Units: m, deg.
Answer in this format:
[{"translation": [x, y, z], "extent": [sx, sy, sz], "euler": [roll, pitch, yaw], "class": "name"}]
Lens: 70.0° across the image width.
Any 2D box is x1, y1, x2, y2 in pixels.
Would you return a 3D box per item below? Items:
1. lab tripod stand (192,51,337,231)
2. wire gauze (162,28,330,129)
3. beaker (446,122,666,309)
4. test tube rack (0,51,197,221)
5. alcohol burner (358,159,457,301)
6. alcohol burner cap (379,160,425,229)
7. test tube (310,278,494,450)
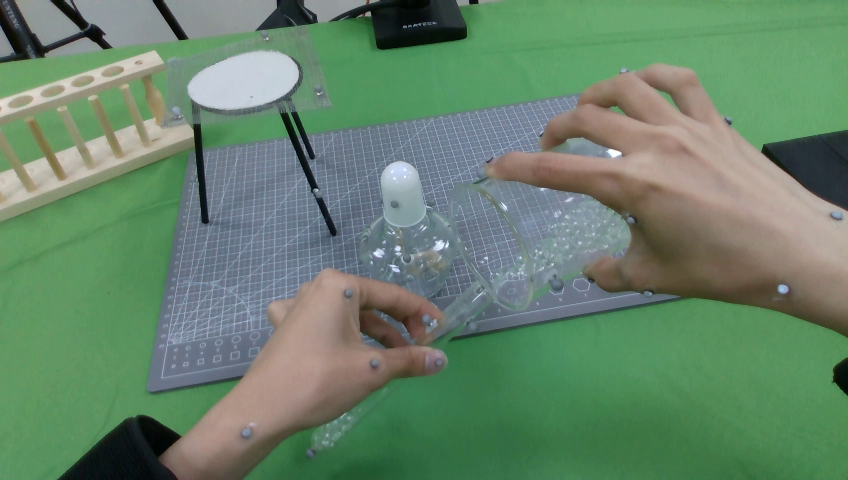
[{"translation": [-0.140, -0.082, 0.529], "extent": [0.148, 0.133, 0.147], "euler": [-3, 47, 3], "class": "lab tripod stand"}, {"translation": [-0.145, -0.129, 0.481], "extent": [0.125, 0.011, 0.120], "euler": [-14, 46, -7], "class": "wire gauze"}, {"translation": [0.074, -0.015, 0.336], "extent": [0.100, 0.085, 0.073], "euler": [-26, 56, -19], "class": "beaker"}, {"translation": [-0.363, -0.101, 0.605], "extent": [0.242, 0.086, 0.066], "euler": [-27, 49, -21], "class": "test tube rack"}, {"translation": [-0.014, -0.010, 0.460], "extent": [0.078, 0.120, 0.077], "euler": [-2, 43, 3], "class": "alcohol burner"}, {"translation": [-0.018, -0.035, 0.435], "extent": [0.034, 0.048, 0.033], "euler": [-4, 46, 4], "class": "alcohol burner cap"}, {"translation": [-0.016, 0.077, 0.366], "extent": [0.150, 0.017, 0.017], "euler": [-44, 47, 12], "class": "test tube"}]
